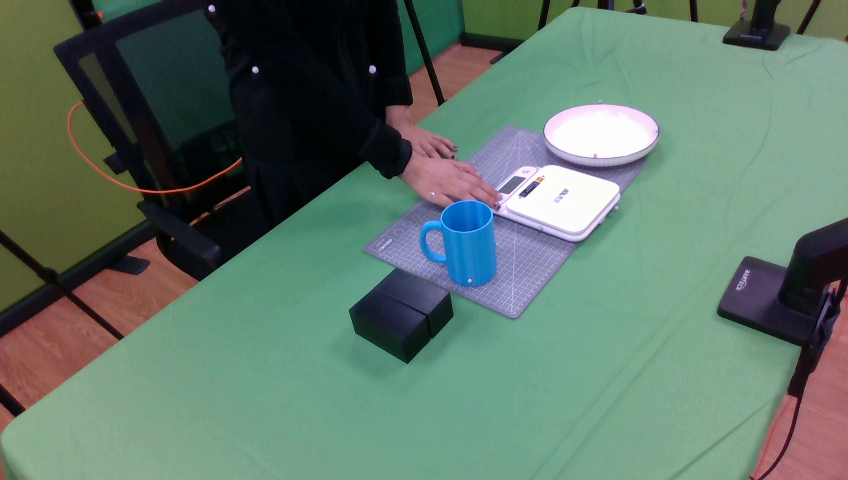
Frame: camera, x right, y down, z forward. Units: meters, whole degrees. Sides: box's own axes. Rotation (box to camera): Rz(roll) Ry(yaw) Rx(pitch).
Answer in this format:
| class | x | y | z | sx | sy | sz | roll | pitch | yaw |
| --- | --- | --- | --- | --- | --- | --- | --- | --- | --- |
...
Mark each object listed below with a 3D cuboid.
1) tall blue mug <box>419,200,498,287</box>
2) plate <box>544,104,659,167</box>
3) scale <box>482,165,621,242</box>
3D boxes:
| class | x | y | z | sx | sy | sz | roll | pitch | yaw |
| --- | --- | --- | --- | --- | --- | --- | --- | --- | --- |
| tall blue mug | 0.053 | 0.010 | 0.889 | 0.107 | 0.108 | 0.077 | -16 | 41 | -7 |
| plate | 0.328 | -0.192 | 1.131 | 0.209 | 0.038 | 0.208 | -4 | 39 | 4 |
| scale | 0.211 | -0.070 | 1.014 | 0.199 | 0.032 | 0.149 | 23 | 49 | 33 |
